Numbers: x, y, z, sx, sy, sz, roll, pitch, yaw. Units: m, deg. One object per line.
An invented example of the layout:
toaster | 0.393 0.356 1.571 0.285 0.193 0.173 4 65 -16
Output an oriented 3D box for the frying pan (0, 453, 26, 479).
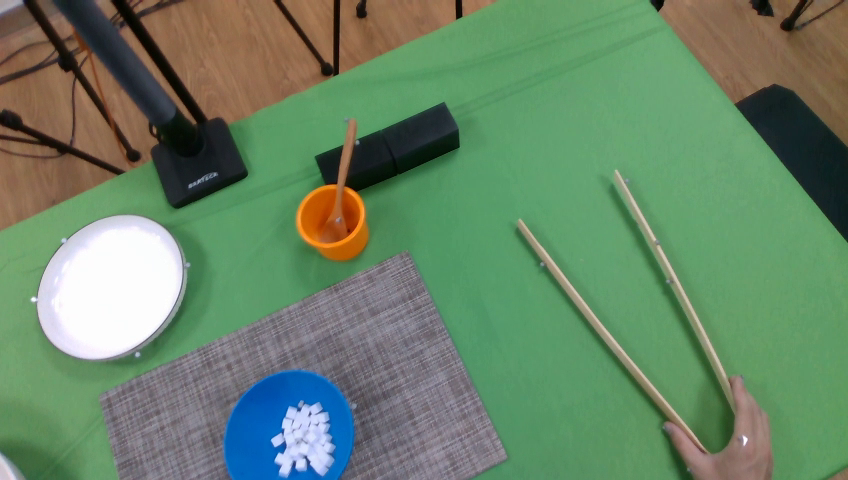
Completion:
frying pan | -0.543 0.454 0.661 0.307 0.104 0.483 -28 61 -5

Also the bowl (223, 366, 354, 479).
bowl | -0.151 0.233 0.722 0.151 0.077 0.150 -2 69 4

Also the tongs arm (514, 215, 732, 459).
tongs arm | 0.234 0.114 0.765 0.028 0.028 0.384 -33 70 -10

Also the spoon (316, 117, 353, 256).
spoon | -0.114 -0.067 0.801 0.041 0.195 0.021 21 28 16

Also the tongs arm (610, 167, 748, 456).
tongs arm | 0.307 0.077 0.768 0.051 0.027 0.381 -22 70 -3

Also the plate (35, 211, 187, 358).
plate | -0.425 0.062 0.838 0.207 0.039 0.206 -2 69 5
